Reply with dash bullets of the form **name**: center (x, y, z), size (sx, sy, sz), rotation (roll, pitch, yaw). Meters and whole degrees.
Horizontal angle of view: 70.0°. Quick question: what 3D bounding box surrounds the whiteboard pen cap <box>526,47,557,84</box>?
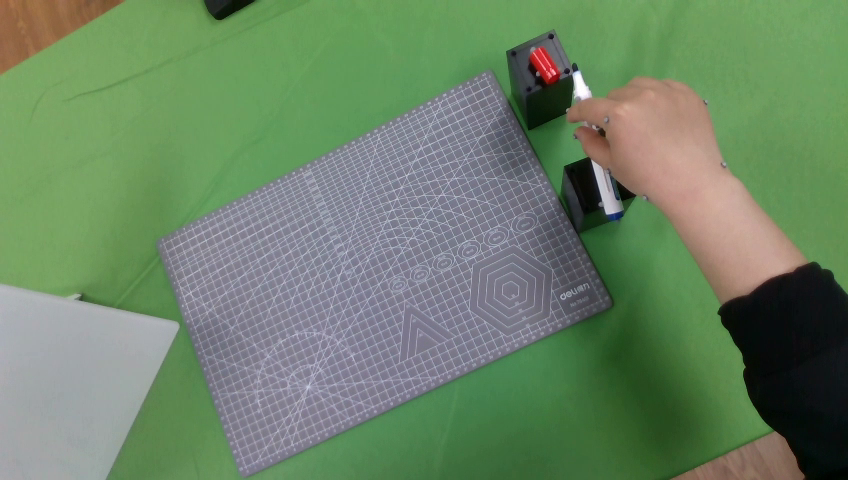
- **whiteboard pen cap**: center (0.111, -0.165, 0.571), size (0.017, 0.017, 0.032), rotation (-31, 79, 5)

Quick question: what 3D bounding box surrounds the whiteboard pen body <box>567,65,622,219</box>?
- **whiteboard pen body**: center (0.148, -0.086, 0.531), size (0.017, 0.017, 0.141), rotation (-18, 95, 8)

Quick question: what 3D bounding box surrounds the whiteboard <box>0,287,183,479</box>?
- **whiteboard**: center (-0.454, 0.133, 0.620), size (0.142, 0.308, 0.217), rotation (24, 87, 33)
